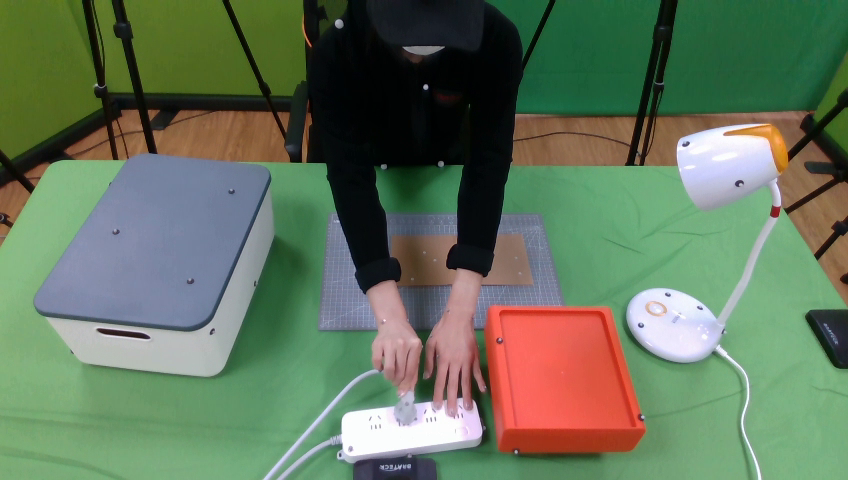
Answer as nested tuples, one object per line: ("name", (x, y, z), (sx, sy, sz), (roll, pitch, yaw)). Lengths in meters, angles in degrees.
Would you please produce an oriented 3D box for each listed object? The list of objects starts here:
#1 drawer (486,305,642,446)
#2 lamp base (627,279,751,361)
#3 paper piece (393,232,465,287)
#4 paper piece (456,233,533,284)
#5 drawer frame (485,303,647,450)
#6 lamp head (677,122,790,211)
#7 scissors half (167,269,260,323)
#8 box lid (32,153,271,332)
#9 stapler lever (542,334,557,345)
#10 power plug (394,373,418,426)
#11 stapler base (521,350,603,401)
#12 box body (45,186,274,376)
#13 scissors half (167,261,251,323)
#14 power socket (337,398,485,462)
("drawer", (0.202, 0.201, 0.919), (0.195, 0.073, 0.210), (1, 47, -4))
("lamp base", (0.460, 0.100, 1.027), (0.178, 0.181, 0.160), (27, 51, 17))
("paper piece", (0.007, 0.036, 1.168), (0.135, 0.004, 0.135), (4, 45, -7))
("paper piece", (0.136, 0.035, 1.182), (0.136, 0.009, 0.137), (2, 45, -6))
("drawer frame", (0.204, 0.202, 0.917), (0.202, 0.083, 0.212), (1, 47, -4))
("lamp head", (0.423, -0.104, 0.819), (0.122, 0.113, 0.112), (-13, 33, 40))
("scissors half", (-0.369, 0.101, 1.069), (0.175, 0.013, 0.040), (-29, 51, -21))
("box lid", (-0.417, -0.015, 0.980), (0.263, 0.015, 0.369), (6, 46, 1))
("stapler lever", (0.225, 0.181, 0.928), (0.118, 0.040, 0.027), (27, 34, 15))
("power plug", (-0.026, 0.244, 0.914), (0.035, 0.053, 0.072), (11, 39, -5))
("stapler base", (0.217, 0.203, 0.942), (0.130, 0.024, 0.041), (26, 33, 16))
("box body", (-0.421, 0.037, 1.031), (0.254, 0.161, 0.362), (6, 46, 1))
("scissors half", (-0.383, 0.091, 1.080), (0.040, 0.013, 0.175), (24, 51, 31))
("power socket", (-0.018, 0.285, 0.915), (0.227, 0.033, 0.071), (-4, 46, -8))
